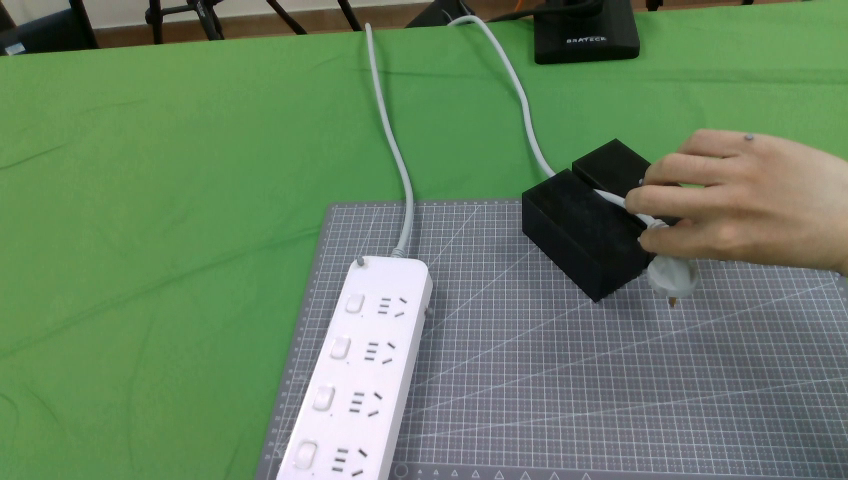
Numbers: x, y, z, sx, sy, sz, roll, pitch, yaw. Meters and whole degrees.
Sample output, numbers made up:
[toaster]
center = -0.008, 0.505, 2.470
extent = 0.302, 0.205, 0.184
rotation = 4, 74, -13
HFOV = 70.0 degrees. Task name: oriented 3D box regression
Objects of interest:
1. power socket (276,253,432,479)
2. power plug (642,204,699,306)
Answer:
[power socket]
center = -0.047, 0.101, 0.468
extent = 0.072, 0.033, 0.225
rotation = 5, 52, 12
[power plug]
center = 0.187, 0.012, 0.464
extent = 0.035, 0.053, 0.072
rotation = 1, 45, 8
